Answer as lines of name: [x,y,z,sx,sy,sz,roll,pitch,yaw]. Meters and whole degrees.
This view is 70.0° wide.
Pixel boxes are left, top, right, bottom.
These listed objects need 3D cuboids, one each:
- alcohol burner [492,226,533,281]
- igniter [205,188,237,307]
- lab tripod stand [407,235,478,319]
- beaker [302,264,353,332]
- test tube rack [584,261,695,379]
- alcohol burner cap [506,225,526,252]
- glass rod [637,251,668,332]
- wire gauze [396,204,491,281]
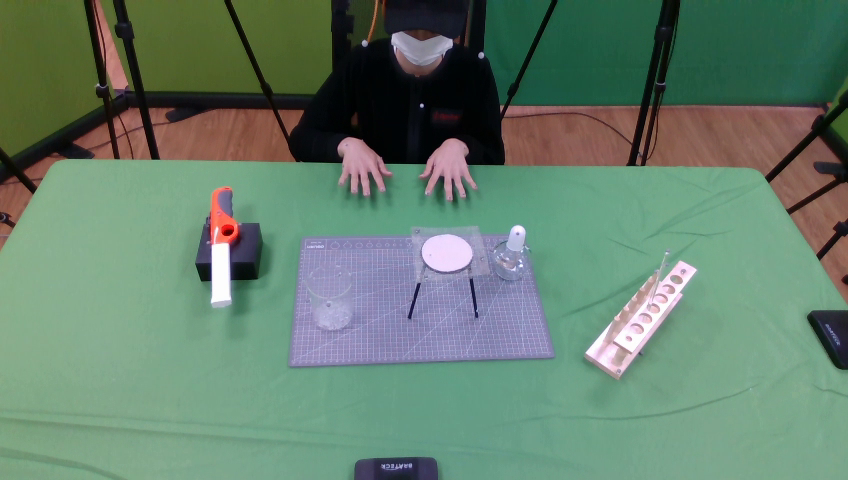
alcohol burner: [0.166,0.020,1.125,0.078,0.120,0.077,1,46,-1]
igniter: [-0.367,0.004,1.097,0.057,0.025,0.274,-7,50,-11]
lab tripod stand: [0.032,0.065,1.057,0.148,0.132,0.147,1,45,-1]
beaker: [-0.162,0.101,1.030,0.084,0.101,0.073,4,46,0]
test tube rack: [0.380,0.127,1.062,0.066,0.085,0.242,34,53,26]
alcohol burner cap: [0.169,-0.005,1.099,0.034,0.048,0.033,3,42,-3]
glass rod: [0.378,0.090,1.005,0.008,0.201,0.008,-1,44,1]
wire gauze: [0.032,0.004,0.999,0.125,0.011,0.120,-22,54,-14]
